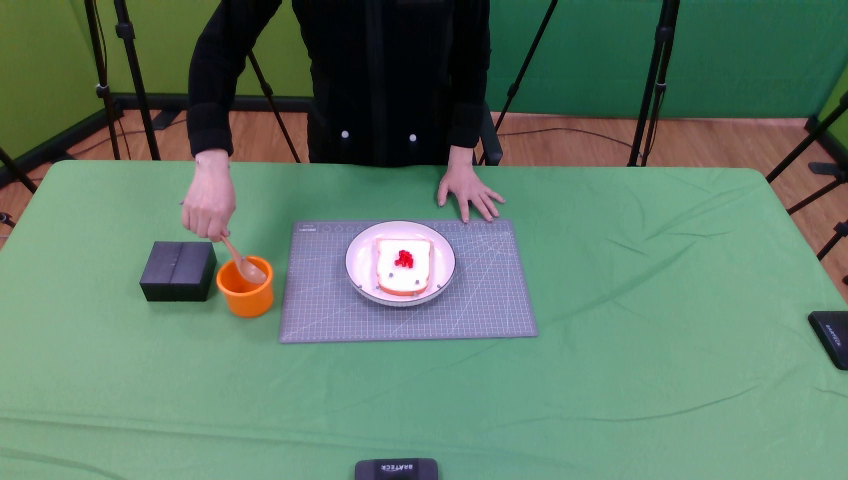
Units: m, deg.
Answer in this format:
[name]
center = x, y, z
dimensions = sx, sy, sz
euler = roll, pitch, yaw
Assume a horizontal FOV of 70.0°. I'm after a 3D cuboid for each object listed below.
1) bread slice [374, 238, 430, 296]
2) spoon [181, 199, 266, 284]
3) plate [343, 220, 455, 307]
[bread slice]
center = -0.039, 0.048, 1.135
dimensions = 0.107, 0.018, 0.133
euler = -1, 47, -4
[spoon]
center = -0.338, 0.002, 1.022
dimensions = 0.194, 0.021, 0.041
euler = 51, 26, -6
[plate]
center = -0.047, 0.046, 1.135
dimensions = 0.209, 0.038, 0.208
euler = 2, 46, -2
